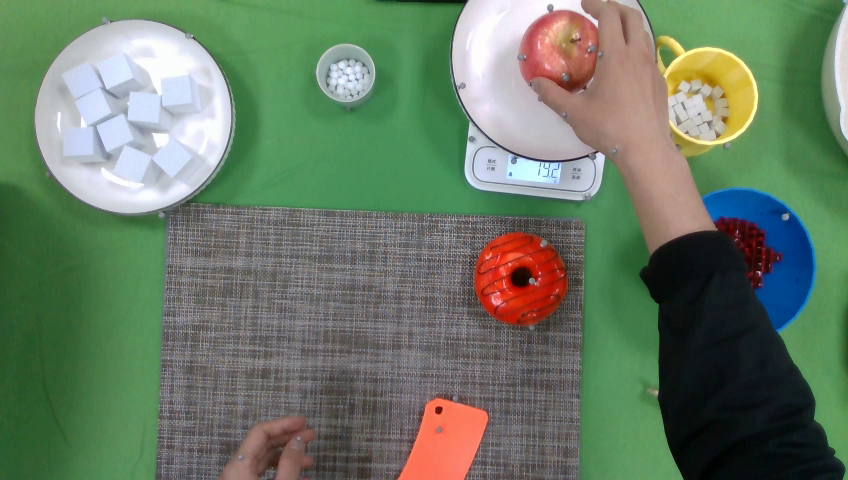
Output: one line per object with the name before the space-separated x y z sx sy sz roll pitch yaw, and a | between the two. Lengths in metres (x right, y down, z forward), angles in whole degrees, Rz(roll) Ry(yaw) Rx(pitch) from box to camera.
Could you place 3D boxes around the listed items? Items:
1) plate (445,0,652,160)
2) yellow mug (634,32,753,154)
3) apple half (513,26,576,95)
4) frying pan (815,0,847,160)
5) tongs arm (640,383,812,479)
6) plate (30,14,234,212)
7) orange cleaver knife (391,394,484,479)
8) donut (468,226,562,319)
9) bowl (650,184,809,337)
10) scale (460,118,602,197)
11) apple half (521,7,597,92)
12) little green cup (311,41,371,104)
plate | 0.124 -0.184 0.619 0.209 0.038 0.209 0 88 -1
yellow mug | 0.271 -0.159 0.635 0.100 0.064 0.130 -30 88 0
apple half | 0.109 -0.165 0.591 0.033 0.081 0.081 -42 88 -6
frying pan | 0.591 -0.080 0.616 0.307 0.103 0.485 -24 81 0
tongs arm | 0.394 0.259 0.638 0.387 0.028 0.028 33 82 0
plate | -0.302 -0.131 0.643 0.208 0.039 0.207 0 88 -1
orange cleaver knife | -0.011 0.258 0.638 0.077 0.012 0.211 31 86 -6
donut | 0.094 0.034 0.634 0.099 0.048 0.099 0 88 1
bowl | 0.299 0.021 0.624 0.151 0.077 0.151 0 89 0
scale | 0.122 -0.152 0.651 0.149 0.031 0.200 7 88 0
apple half | 0.137 -0.191 0.593 0.053 0.075 0.080 -42 86 -5
little green cup | -0.086 -0.176 0.646 0.061 0.038 0.061 0 88 0
